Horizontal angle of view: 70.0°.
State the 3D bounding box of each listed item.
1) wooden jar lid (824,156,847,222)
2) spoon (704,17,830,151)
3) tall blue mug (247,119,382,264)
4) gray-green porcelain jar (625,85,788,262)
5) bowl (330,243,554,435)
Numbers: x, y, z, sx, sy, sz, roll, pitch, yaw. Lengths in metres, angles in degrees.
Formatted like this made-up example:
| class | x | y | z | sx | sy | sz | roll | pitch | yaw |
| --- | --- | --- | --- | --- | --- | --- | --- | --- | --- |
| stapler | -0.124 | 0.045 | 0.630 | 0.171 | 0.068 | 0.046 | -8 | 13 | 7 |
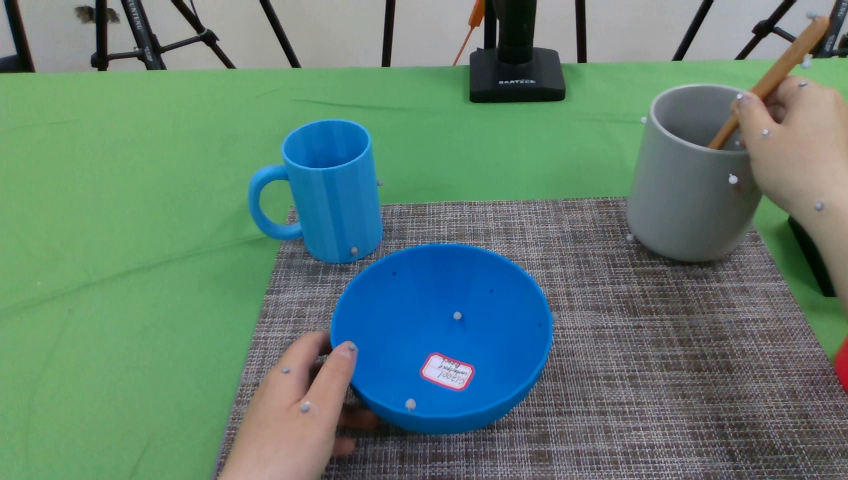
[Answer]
| class | x | y | z | sx | sy | sz | roll | pitch | yaw |
| --- | --- | --- | --- | --- | --- | --- | --- | --- | --- |
| wooden jar lid | 0.392 | -0.034 | 0.505 | 0.108 | 0.021 | 0.107 | -2 | 43 | 2 |
| spoon | 0.234 | -0.082 | 0.467 | 0.022 | 0.195 | 0.041 | 1 | 49 | -22 |
| tall blue mug | -0.092 | -0.035 | 0.539 | 0.107 | 0.109 | 0.077 | -34 | 52 | -29 |
| gray-green porcelain jar | 0.235 | -0.052 | 0.524 | 0.106 | 0.128 | 0.105 | -2 | 43 | 2 |
| bowl | 0.013 | 0.081 | 0.432 | 0.151 | 0.077 | 0.150 | -1 | 43 | 2 |
